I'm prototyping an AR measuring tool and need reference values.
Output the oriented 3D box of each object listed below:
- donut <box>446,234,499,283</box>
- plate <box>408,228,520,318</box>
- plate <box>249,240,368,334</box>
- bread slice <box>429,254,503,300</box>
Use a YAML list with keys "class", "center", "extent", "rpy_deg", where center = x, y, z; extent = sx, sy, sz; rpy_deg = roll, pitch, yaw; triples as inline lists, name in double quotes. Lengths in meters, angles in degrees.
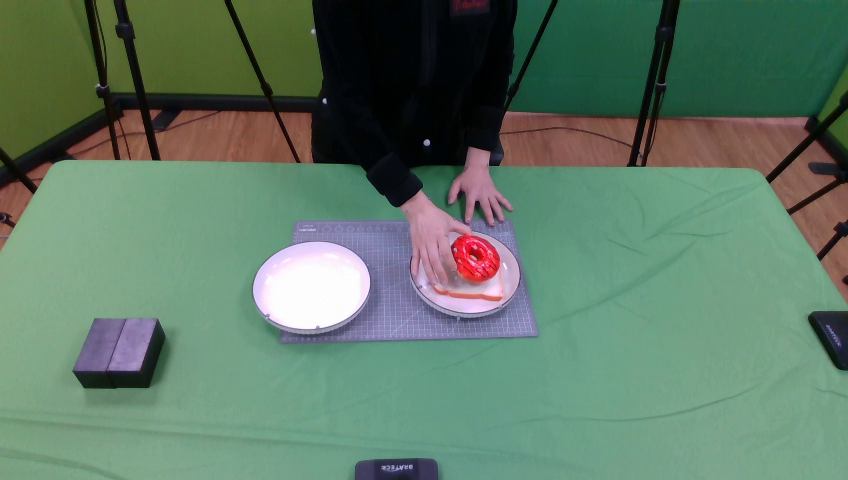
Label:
- class: "donut"
  center: [0.088, 0.034, 1.090]
  extent: [0.099, 0.048, 0.098]
  rpy_deg: [11, 52, -14]
- class: "plate"
  center: [0.073, 0.063, 1.128]
  extent: [0.209, 0.038, 0.208]
  rpy_deg: [2, 46, -2]
- class: "plate"
  center: [-0.204, 0.086, 1.084]
  extent: [0.208, 0.039, 0.206]
  rpy_deg: [2, 46, -2]
- class: "bread slice"
  center: [0.077, 0.067, 1.125]
  extent: [0.134, 0.018, 0.106]
  rpy_deg: [1, 44, -3]
